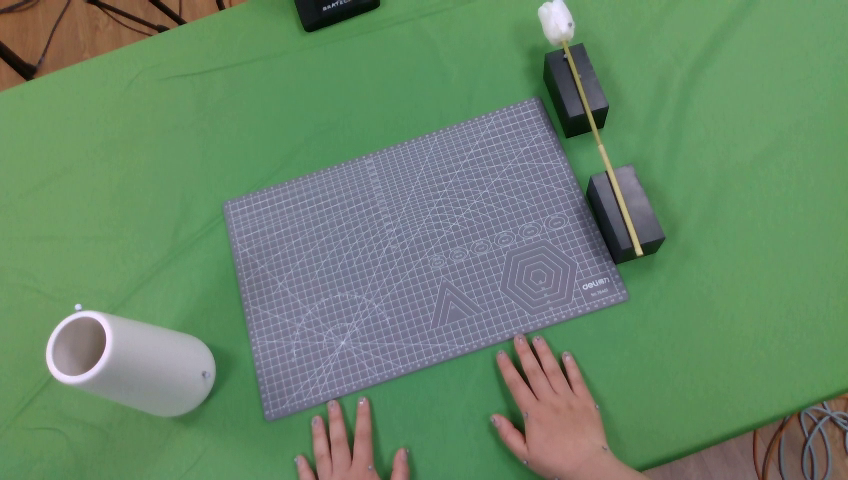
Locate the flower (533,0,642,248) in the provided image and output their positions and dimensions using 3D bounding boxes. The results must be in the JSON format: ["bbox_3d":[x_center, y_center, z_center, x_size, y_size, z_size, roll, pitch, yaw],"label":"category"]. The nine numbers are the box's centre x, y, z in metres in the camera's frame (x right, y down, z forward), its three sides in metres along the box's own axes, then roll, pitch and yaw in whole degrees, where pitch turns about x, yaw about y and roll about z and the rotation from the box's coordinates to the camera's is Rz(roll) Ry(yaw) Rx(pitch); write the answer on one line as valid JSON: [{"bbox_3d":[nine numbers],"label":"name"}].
[{"bbox_3d":[0.199,-0.151,0.732,0.044,0.038,0.358,-1,63,-25],"label":"flower"}]

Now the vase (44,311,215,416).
[{"bbox_3d":[-0.306,0.133,0.652,0.098,0.201,0.097,-2,69,6],"label":"vase"}]
